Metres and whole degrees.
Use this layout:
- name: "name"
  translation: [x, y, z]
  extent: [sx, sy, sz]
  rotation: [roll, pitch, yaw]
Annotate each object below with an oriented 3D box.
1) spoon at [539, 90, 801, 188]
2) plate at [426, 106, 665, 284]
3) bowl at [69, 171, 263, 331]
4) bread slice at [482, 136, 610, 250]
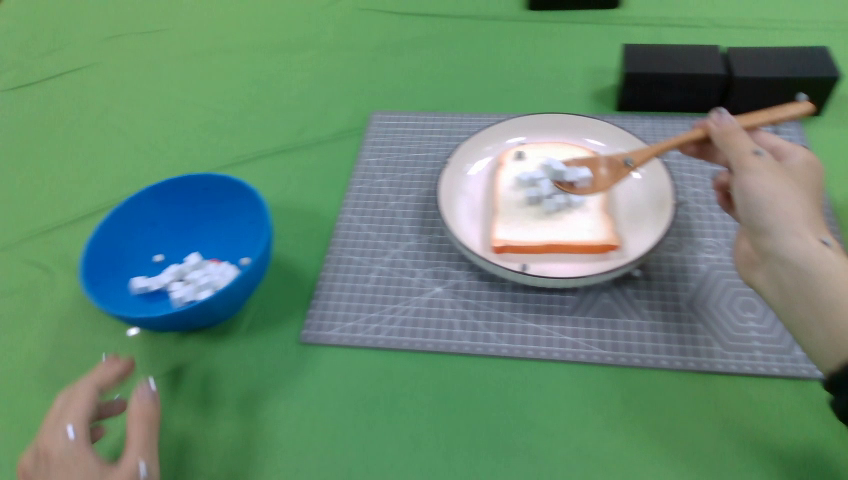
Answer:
- name: "spoon"
  translation: [0.180, -0.076, 0.445]
  extent: [0.193, 0.022, 0.041]
  rotation: [-19, 44, 8]
- name: "plate"
  translation: [0.106, -0.042, 0.552]
  extent: [0.209, 0.038, 0.207]
  rotation: [-3, 51, 4]
- name: "bowl"
  translation: [-0.202, 0.021, 0.511]
  extent: [0.151, 0.077, 0.150]
  rotation: [-3, 51, 4]
- name: "bread slice"
  translation: [0.104, -0.045, 0.558]
  extent: [0.107, 0.018, 0.133]
  rotation: [-4, 52, 4]
